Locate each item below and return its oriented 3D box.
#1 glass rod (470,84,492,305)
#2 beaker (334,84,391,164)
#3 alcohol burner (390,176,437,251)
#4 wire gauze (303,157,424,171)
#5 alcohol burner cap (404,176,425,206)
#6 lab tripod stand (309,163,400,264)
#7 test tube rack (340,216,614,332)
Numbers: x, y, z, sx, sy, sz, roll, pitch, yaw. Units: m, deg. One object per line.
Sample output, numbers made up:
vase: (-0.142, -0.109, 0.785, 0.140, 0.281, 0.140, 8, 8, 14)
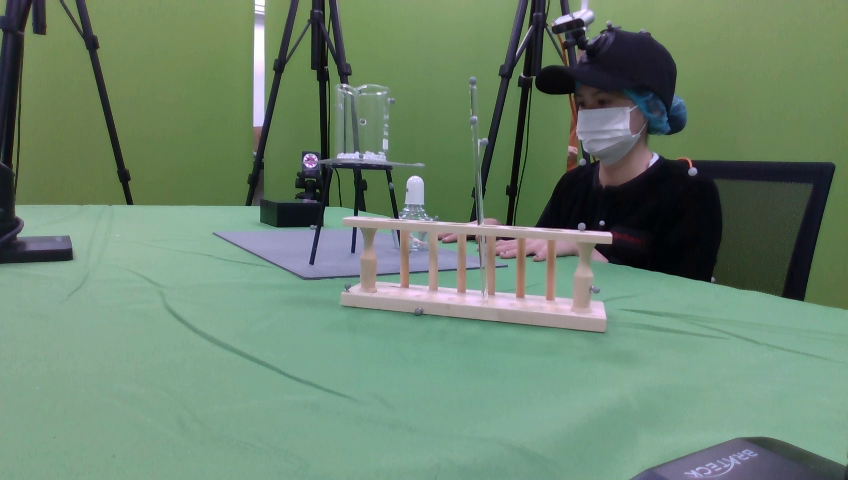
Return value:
glass rod: (0.051, -0.036, 0.535, 0.008, 0.199, 0.008, -5, 10, 1)
beaker: (-0.082, -0.149, 0.792, 0.074, 0.100, 0.084, 2, 5, 5)
alcohol burner: (-0.016, -0.042, 0.955, 0.078, 0.119, 0.078, 4, 5, 0)
wire gauze: (-0.082, -0.101, 0.799, 0.126, 0.011, 0.121, 1, 7, -30)
alcohol burner cap: (-0.015, -0.077, 0.951, 0.034, 0.048, 0.034, 2, 4, 0)
lab tripod stand: (-0.091, -0.037, 0.813, 0.148, 0.131, 0.148, 1, 6, 0)
test tube rack: (0.048, 0.026, 0.568, 0.242, 0.085, 0.067, 4, 8, 13)
